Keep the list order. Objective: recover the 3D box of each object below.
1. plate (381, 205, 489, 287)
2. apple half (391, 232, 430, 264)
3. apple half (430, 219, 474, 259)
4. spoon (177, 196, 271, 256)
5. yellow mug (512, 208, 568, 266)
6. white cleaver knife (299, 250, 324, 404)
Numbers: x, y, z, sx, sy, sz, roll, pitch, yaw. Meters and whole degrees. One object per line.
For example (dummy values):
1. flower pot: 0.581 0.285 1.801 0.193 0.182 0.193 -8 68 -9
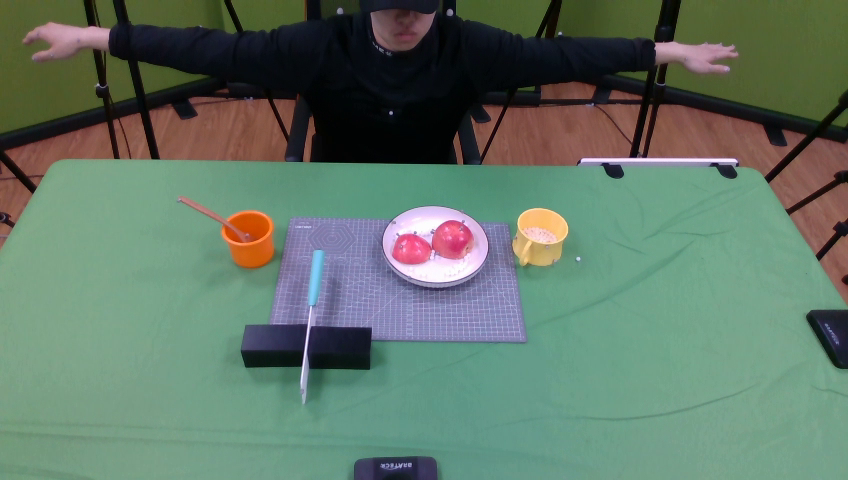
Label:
1. plate: 0.021 0.015 1.170 0.209 0.038 0.208 2 46 -2
2. apple half: -0.024 0.009 1.163 0.081 0.033 0.081 2 43 -2
3. apple half: 0.056 -0.007 1.172 0.081 0.053 0.074 -33 59 -31
4. spoon: -0.362 -0.027 1.109 0.021 0.195 0.041 -31 35 28
5. yellow mug: 0.219 0.002 1.183 0.099 0.064 0.130 27 51 21
6. white cleaver knife: -0.194 0.134 1.019 0.021 0.066 0.284 5 50 -5
